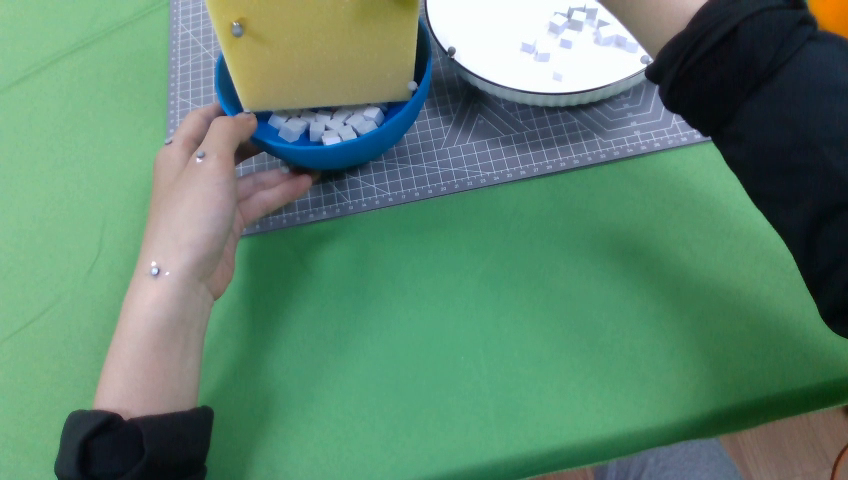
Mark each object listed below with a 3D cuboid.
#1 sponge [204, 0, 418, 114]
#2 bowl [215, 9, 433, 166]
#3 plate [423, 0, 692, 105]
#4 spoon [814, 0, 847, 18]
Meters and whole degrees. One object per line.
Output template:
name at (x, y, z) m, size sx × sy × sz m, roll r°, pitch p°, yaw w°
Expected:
sponge at (-0.065, -0.160, 0.339) m, size 0.118 × 0.208 × 0.060 m, roll -9°, pitch 68°, yaw -7°
bowl at (-0.065, -0.108, 0.445) m, size 0.151 × 0.077 × 0.150 m, roll -2°, pitch 64°, yaw 4°
plate at (0.103, -0.190, 0.490) m, size 0.209 × 0.038 × 0.207 m, roll -2°, pitch 65°, yaw 5°
spoon at (0.374, -0.226, 0.419) m, size 0.022 × 0.194 × 0.041 m, roll 5°, pitch 59°, yaw -42°
